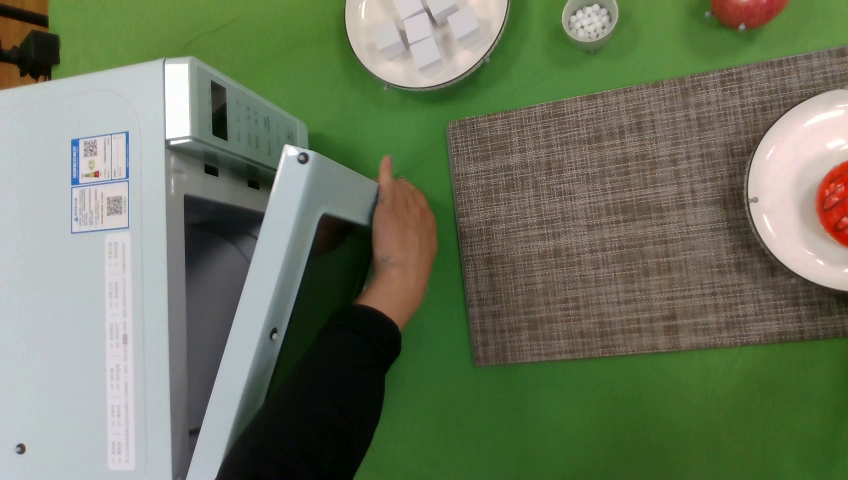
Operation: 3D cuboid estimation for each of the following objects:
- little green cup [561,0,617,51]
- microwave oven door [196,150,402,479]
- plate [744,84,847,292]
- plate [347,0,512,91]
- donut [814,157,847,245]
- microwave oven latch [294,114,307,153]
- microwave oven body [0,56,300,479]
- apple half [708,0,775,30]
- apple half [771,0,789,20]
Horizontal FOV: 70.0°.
[{"bbox_3d":[0.190,-0.249,0.697,0.061,0.039,0.061,-1,86,16],"label":"little green cup"},{"bbox_3d":[-0.122,0.100,0.634,0.039,0.245,0.355,16,90,17],"label":"microwave oven door"},{"bbox_3d":[0.434,-0.051,0.612,0.208,0.038,0.208,-1,86,16],"label":"plate"},{"bbox_3d":[0.007,-0.283,0.750,0.207,0.039,0.207,-1,86,16],"label":"plate"},{"bbox_3d":[0.441,-0.039,0.598,0.099,0.048,0.099,-1,87,17],"label":"donut"},{"bbox_3d":[-0.164,-0.116,0.766,0.030,0.029,0.079,-2,86,15],"label":"microwave oven latch"},{"bbox_3d":[-0.322,0.065,0.697,0.325,0.261,0.440,-5,85,15],"label":"microwave oven body"},{"bbox_3d":[0.330,-0.261,0.642,0.053,0.075,0.080,-17,85,18],"label":"apple half"},{"bbox_3d":[0.366,-0.272,0.631,0.033,0.081,0.081,-17,81,19],"label":"apple half"}]
